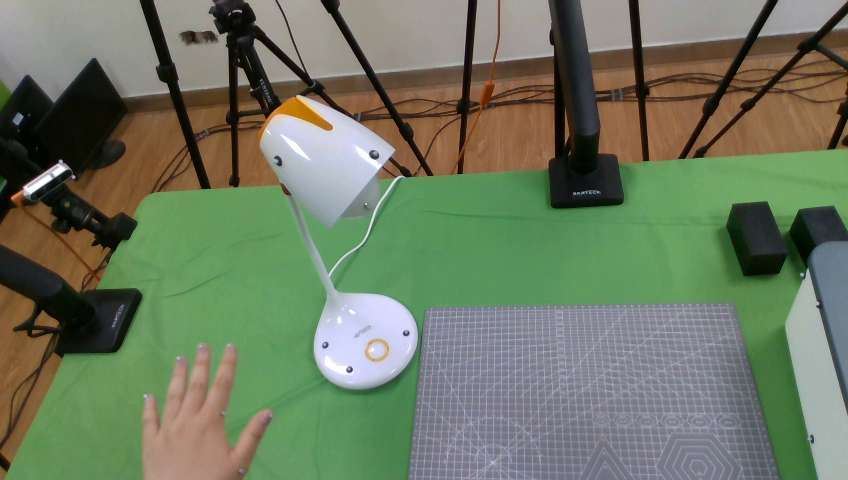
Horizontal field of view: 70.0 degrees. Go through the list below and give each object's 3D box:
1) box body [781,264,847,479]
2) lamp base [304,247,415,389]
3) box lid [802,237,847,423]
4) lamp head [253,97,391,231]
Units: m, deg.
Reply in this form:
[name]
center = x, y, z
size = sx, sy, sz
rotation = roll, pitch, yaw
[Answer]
[box body]
center = 0.568, 0.189, 0.659
size = 0.253, 0.162, 0.361
rotation = 1, 51, 12
[lamp base]
center = -0.115, 0.099, 0.865
size = 0.177, 0.182, 0.160
rotation = 32, 63, 34
[box lid]
center = 0.557, 0.141, 0.603
size = 0.262, 0.015, 0.368
rotation = 1, 52, 13
[lamp head]
center = -0.114, -0.085, 0.627
size = 0.123, 0.112, 0.112
rotation = 36, 61, -4
